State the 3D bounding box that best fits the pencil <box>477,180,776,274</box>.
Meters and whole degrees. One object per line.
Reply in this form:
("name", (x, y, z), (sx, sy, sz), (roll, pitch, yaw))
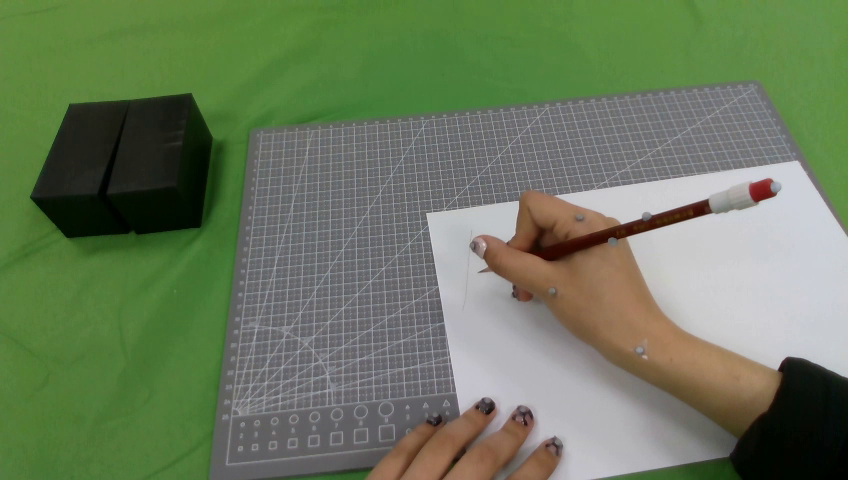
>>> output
("pencil", (0.097, 0.000, 0.345), (0.012, 0.193, 0.012), (14, 67, -37))
